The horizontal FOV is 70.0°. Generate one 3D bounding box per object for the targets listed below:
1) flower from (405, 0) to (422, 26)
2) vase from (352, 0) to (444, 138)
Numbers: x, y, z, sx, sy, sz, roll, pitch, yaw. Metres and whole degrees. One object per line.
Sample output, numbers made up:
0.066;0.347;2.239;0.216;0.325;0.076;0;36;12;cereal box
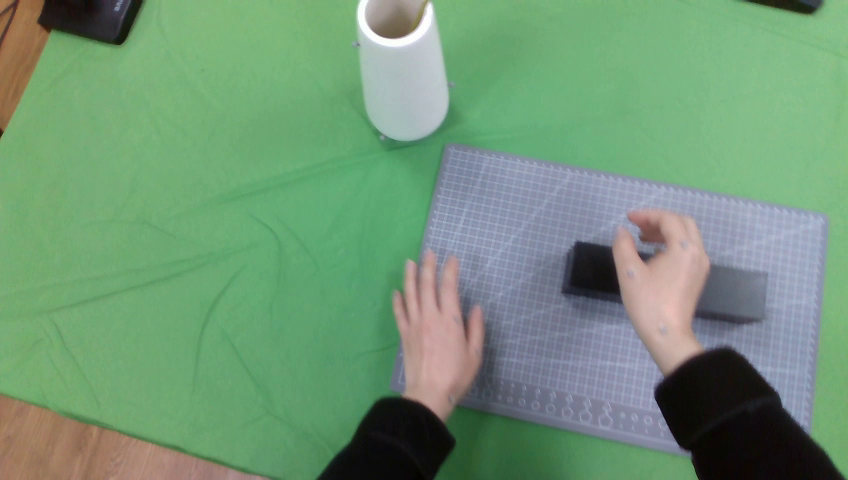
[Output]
-0.013;-0.207;0.566;0.038;0.361;0.044;29;71;-9;flower
-0.027;-0.187;0.646;0.098;0.201;0.097;0;75;1;vase
